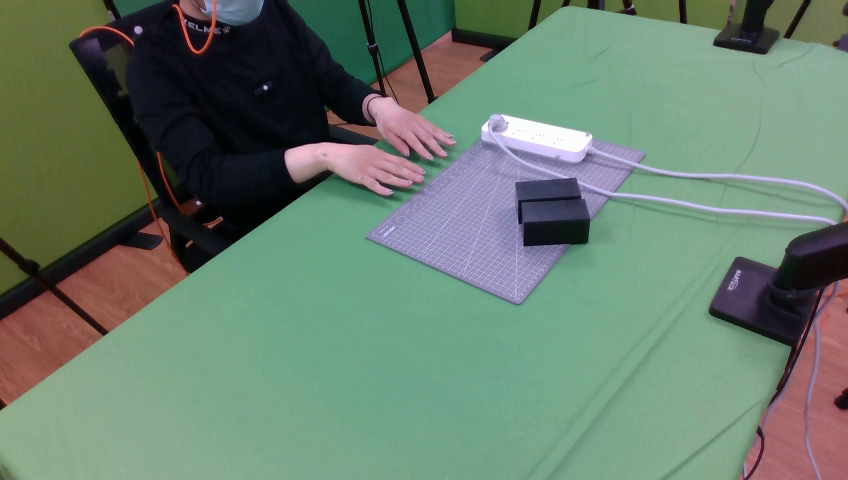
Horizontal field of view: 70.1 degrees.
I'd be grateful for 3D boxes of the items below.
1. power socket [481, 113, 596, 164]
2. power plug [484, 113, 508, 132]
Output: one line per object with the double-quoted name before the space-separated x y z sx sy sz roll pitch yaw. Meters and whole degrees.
"power socket" 0.211 -0.196 1.154 0.225 0.033 0.072 20 48 27
"power plug" 0.131 -0.214 1.158 0.035 0.053 0.073 31 59 35
